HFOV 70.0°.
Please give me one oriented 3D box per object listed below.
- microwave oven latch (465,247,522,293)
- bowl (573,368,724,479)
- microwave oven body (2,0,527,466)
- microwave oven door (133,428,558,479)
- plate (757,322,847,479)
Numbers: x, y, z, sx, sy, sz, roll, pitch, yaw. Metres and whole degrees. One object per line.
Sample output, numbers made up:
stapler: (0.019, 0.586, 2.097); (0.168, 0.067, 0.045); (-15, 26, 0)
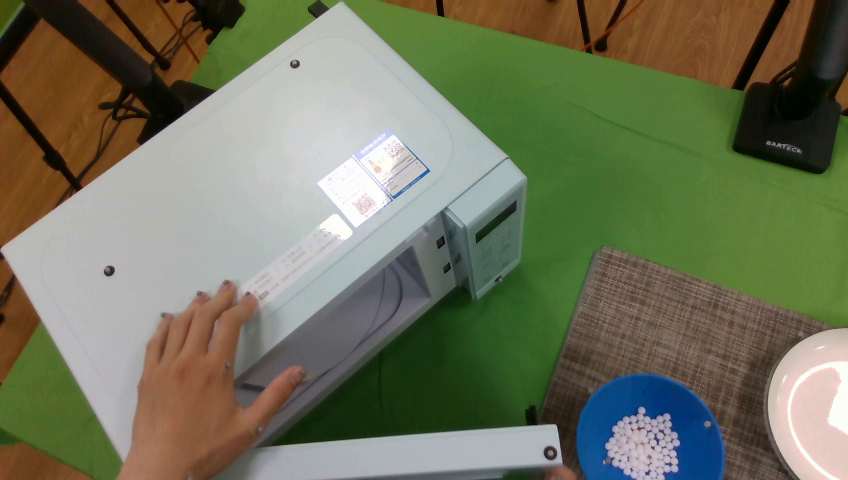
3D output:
microwave oven latch: (0.088, 0.030, 0.765); (0.079, 0.030, 0.030); (-38, 69, -8)
bowl: (0.236, 0.222, 0.665); (0.151, 0.077, 0.150); (-2, 68, 6)
microwave oven body: (-0.153, 0.005, 0.699); (0.441, 0.262, 0.323); (-40, 70, -8)
microwave oven door: (-0.055, 0.219, 0.598); (0.356, 0.246, 0.039); (-6, 67, 4)
plate: (0.476, 0.196, 0.669); (0.207, 0.039, 0.206); (-2, 68, 6)
